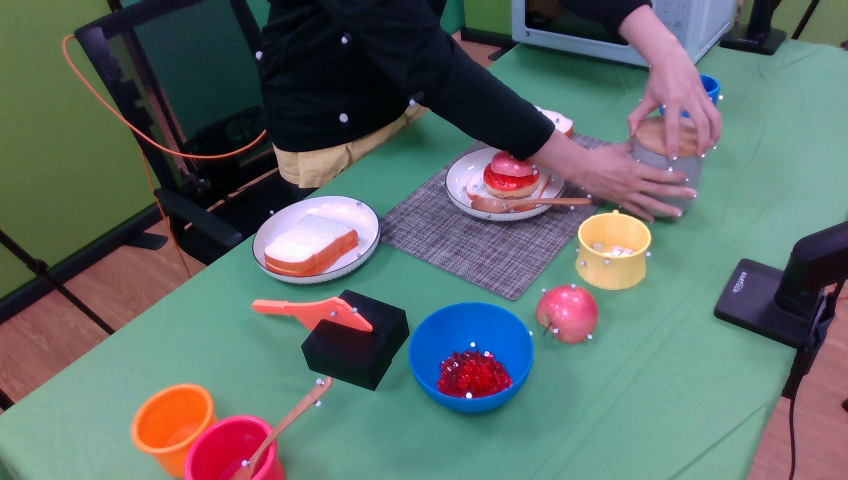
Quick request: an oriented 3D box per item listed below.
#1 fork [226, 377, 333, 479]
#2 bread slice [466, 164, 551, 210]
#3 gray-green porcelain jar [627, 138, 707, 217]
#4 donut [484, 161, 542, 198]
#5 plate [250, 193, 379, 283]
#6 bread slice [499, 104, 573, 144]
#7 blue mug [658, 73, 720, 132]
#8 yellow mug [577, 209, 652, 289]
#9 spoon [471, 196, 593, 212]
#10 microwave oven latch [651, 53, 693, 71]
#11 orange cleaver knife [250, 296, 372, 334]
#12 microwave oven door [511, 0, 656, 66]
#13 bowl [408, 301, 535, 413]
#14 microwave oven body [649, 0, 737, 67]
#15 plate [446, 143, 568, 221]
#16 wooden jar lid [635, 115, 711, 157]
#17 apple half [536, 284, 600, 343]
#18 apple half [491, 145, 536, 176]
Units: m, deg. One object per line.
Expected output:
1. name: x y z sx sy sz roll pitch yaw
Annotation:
1. fork: -0.163 0.216 0.647 0.207 0.019 0.028 -49 42 16
2. bread slice: 0.141 -0.093 1.042 0.133 0.018 0.107 9 43 19
3. gray-green porcelain jar: 0.382 -0.109 0.961 0.106 0.127 0.105 -3 42 3
4. donut: 0.149 -0.109 1.016 0.099 0.048 0.098 -4 41 4
5. plate: -0.174 -0.001 0.984 0.209 0.038 0.208 -4 41 4
6. bread slice: 0.231 -0.232 1.205 0.105 0.019 0.130 -36 47 -28
7. blue mug: 0.482 -0.250 1.127 0.082 0.106 0.115 -26 44 -19
8. yellow mug: 0.279 0.004 0.892 0.099 0.064 0.130 5 42 15
9. spoon: 0.171 -0.060 0.974 0.193 0.022 0.041 -3 43 17
10. microwave oven latch: 0.533 -0.387 1.301 0.078 0.029 0.030 30 53 36
11. orange cleaver knife: -0.159 0.103 0.828 0.210 0.078 0.012 -4 43 39
12. microwave oven door: 0.350 -0.539 1.348 0.353 0.245 0.039 24 50 31
13. bowl: 0.060 0.156 0.739 0.151 0.077 0.150 -4 40 4
14. microwave oven body: 0.475 -0.602 1.411 0.438 0.261 0.327 23 50 32
15. plate: 0.143 -0.097 1.045 0.207 0.039 0.206 -4 40 4
16. wooden jar lid: 0.377 -0.155 0.921 0.108 0.021 0.108 -1 43 1
17. apple half: 0.196 0.091 0.815 0.075 0.053 0.080 -22 42 -20
18. apple half: 0.147 -0.138 0.994 0.081 0.033 0.081 0 39 1
